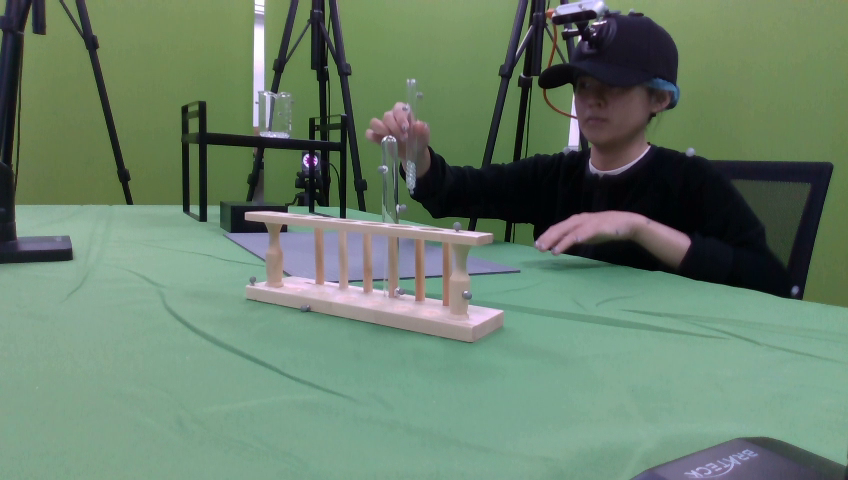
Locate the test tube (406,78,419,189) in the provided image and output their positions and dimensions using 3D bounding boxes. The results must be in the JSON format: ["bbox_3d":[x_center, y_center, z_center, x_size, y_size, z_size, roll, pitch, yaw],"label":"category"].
[{"bbox_3d":[-0.016,-0.144,0.824,0.017,0.150,0.017,1,14,0],"label":"test tube"}]

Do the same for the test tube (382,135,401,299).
[{"bbox_3d":[-0.029,-0.019,0.550,0.017,0.150,0.017,0,9,0],"label":"test tube"}]

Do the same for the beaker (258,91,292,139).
[{"bbox_3d":[-0.331,-0.276,1.343,0.074,0.100,0.083,0,8,-20],"label":"beaker"}]

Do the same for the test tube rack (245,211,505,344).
[{"bbox_3d":[-0.049,0.025,0.547,0.241,0.085,0.067,7,8,28],"label":"test tube rack"}]
